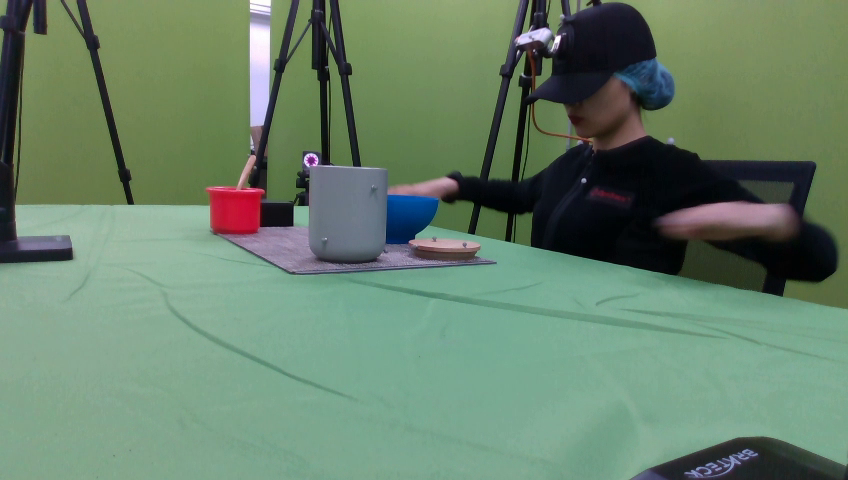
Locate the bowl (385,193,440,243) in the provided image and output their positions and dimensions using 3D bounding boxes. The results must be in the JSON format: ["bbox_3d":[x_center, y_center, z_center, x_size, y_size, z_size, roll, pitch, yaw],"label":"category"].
[{"bbox_3d":[-0.050,-0.038,1.033,0.151,0.077,0.151,3,7,0],"label":"bowl"}]

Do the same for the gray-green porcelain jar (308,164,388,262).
[{"bbox_3d":[-0.103,-0.038,0.818,0.106,0.126,0.106,2,7,0],"label":"gray-green porcelain jar"}]

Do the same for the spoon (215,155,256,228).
[{"bbox_3d":[-0.332,-0.091,1.092,0.041,0.021,0.193,3,52,5],"label":"spoon"}]

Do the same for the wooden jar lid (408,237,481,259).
[{"bbox_3d":[0.031,0.012,0.895,0.108,0.020,0.108,2,8,0],"label":"wooden jar lid"}]
